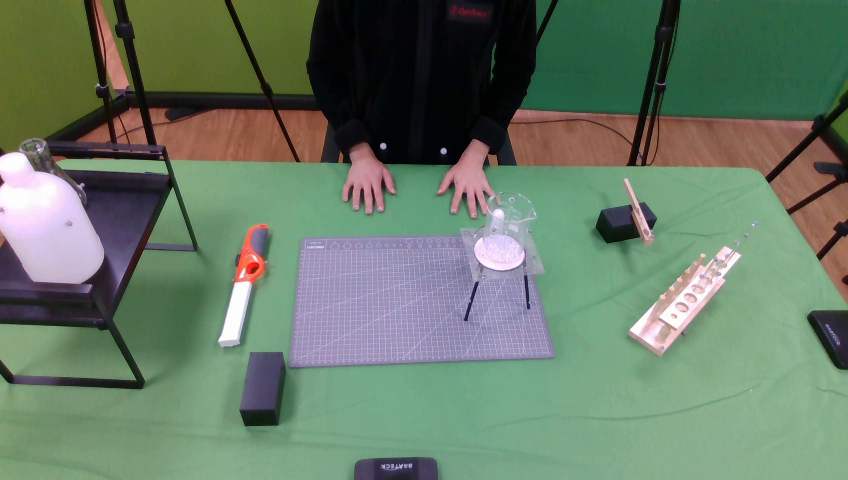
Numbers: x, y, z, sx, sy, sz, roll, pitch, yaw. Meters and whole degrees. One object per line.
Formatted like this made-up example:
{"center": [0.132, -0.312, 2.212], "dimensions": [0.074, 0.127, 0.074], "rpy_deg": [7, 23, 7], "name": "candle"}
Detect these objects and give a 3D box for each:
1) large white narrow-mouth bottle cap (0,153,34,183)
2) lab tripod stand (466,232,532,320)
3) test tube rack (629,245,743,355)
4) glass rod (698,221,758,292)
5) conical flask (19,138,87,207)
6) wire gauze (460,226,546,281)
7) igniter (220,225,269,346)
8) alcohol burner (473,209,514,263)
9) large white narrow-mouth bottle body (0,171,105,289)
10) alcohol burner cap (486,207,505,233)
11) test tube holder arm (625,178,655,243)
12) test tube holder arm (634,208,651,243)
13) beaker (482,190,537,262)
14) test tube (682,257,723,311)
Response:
{"center": [-0.510, -0.090, 0.755], "dimensions": [0.038, 0.024, 0.037], "rpy_deg": [2, 46, -2], "name": "large white narrow-mouth bottle cap"}
{"center": [0.125, 0.059, 1.065], "dimensions": [0.148, 0.132, 0.147], "rpy_deg": [1, 45, 0], "name": "lab tripod stand"}
{"center": [0.474, 0.095, 1.091], "dimensions": [0.242, 0.085, 0.066], "rpy_deg": [-34, 56, -31], "name": "test tube rack"}
{"center": [0.527, 0.035, 1.059], "dimensions": [0.008, 0.200, 0.008], "rpy_deg": [5, 49, -6], "name": "glass rod"}
{"center": [-0.576, -0.097, 0.930], "dimensions": [0.075, 0.122, 0.075], "rpy_deg": [2, 46, -2], "name": "conical flask"}
{"center": [0.130, 0.017, 1.016], "dimensions": [0.121, 0.011, 0.124], "rpy_deg": [-4, 43, -9], "name": "wire gauze"}
{"center": [-0.323, 0.072, 1.101], "dimensions": [0.057, 0.025, 0.275], "rpy_deg": [-6, 46, 5], "name": "igniter"}
{"center": [0.134, -0.013, 1.150], "dimensions": [0.078, 0.120, 0.077], "rpy_deg": [0, 47, 0], "name": "alcohol burner"}
{"center": [-0.513, -0.029, 0.818], "dimensions": [0.102, 0.195, 0.101], "rpy_deg": [2, 46, -2], "name": "large white narrow-mouth bottle body"}
{"center": [0.135, -0.039, 1.125], "dimensions": [0.034, 0.048, 0.033], "rpy_deg": [5, 41, -4], "name": "alcohol burner cap"}
{"center": [0.433, -0.062, 1.220], "dimensions": [0.013, 0.015, 0.177], "rpy_deg": [1, 47, -3], "name": "test tube holder arm"}
{"center": [0.428, -0.030, 1.189], "dimensions": [0.010, 0.015, 0.087], "rpy_deg": [1, 47, -2], "name": "test tube holder arm"}
{"center": [0.136, -0.019, 0.983], "dimensions": [0.084, 0.101, 0.073], "rpy_deg": [17, 47, 14], "name": "beaker"}
{"center": [0.475, 0.080, 1.037], "dimensions": [0.017, 0.151, 0.017], "rpy_deg": [1, 50, -1], "name": "test tube"}
